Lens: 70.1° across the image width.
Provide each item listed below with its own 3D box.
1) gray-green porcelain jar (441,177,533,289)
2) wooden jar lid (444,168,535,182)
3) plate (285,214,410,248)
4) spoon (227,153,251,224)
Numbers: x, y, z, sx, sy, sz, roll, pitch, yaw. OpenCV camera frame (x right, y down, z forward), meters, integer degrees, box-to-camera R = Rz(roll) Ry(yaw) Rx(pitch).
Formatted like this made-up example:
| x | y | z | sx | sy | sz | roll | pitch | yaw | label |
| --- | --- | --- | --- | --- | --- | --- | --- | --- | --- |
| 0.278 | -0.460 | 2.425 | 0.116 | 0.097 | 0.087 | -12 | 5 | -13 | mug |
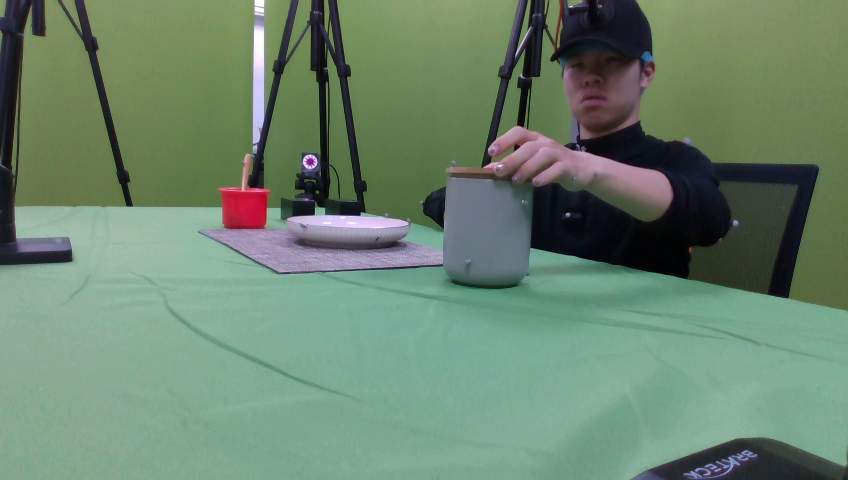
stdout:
| x | y | z | sx | sy | sz | roll | pitch | yaw | label |
| --- | --- | --- | --- | --- | --- | --- | --- | --- | --- |
| 0.075 | -0.010 | 0.727 | 0.106 | 0.126 | 0.106 | 2 | 7 | 0 | gray-green porcelain jar |
| 0.077 | -0.074 | 0.718 | 0.108 | 0.020 | 0.108 | 1 | 5 | 0 | wooden jar lid |
| -0.127 | -0.015 | 1.012 | 0.208 | 0.039 | 0.207 | 3 | 7 | 0 | plate |
| -0.363 | -0.107 | 1.211 | 0.042 | 0.021 | 0.193 | -1 | 47 | -7 | spoon |
